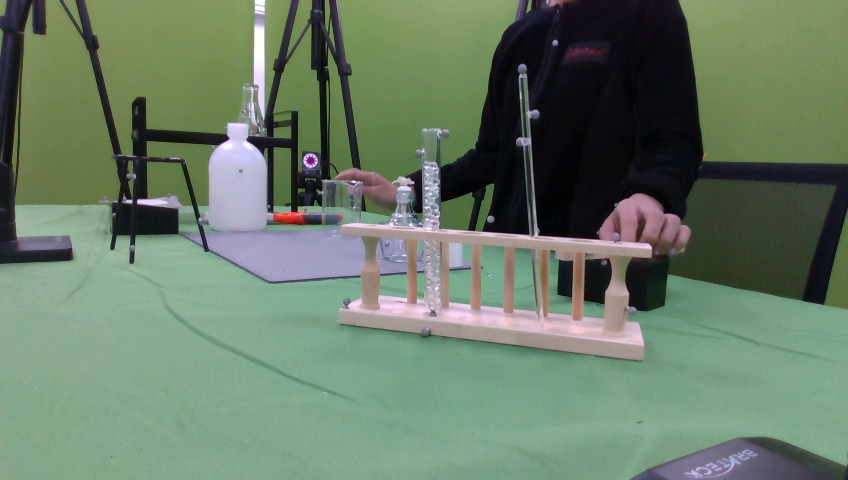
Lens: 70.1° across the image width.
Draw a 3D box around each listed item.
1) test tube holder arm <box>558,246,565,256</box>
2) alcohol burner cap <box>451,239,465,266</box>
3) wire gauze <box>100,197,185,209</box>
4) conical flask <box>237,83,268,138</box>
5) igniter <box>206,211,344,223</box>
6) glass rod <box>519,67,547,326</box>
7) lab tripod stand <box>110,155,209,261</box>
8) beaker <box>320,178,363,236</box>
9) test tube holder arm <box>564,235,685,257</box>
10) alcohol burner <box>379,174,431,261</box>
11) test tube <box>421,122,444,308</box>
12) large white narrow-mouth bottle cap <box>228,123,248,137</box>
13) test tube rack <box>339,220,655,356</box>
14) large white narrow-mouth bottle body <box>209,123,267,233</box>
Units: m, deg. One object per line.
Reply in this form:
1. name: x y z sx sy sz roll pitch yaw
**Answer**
1. test tube holder arm: 0.172 0.008 0.613 0.088 0.015 0.010 -3 7 -30
2. alcohol burner cap: 0.040 0.010 0.815 0.034 0.048 0.034 4 7 0
3. wire gauze: -0.469 -0.062 1.008 0.126 0.011 0.121 -2 8 -25
4. conical flask: -0.402 -0.299 1.406 0.075 0.122 0.075 2 7 0
5. igniter: -0.302 -0.048 1.249 0.278 0.025 0.057 -2 0 -27
6. glass rod: 0.084 -0.029 0.458 0.008 0.199 0.008 -6 11 2
7. lab tripod stand: -0.361 -0.046 0.806 0.148 0.131 0.148 2 5 0
8. beaker: -0.145 -0.059 1.079 0.074 0.100 0.083 -4 10 -36
9. test tube holder arm: 0.214 0.006 0.631 0.179 0.015 0.013 -3 8 -31
10. alcohol burner: -0.027 -0.031 0.838 0.078 0.119 0.078 0 6 0
11. test tube: 0.007 -0.019 0.486 0.017 0.150 0.017 -1 8 0
12. large white narrow-mouth bottle cap: -0.338 -0.199 1.097 0.038 0.024 0.037 2 8 0
13. test tube rack: 0.056 0.032 0.495 0.242 0.085 0.067 4 7 15
14. large white narrow-mouth bottle body: -0.340 -0.115 1.109 0.102 0.194 0.102 2 8 0
